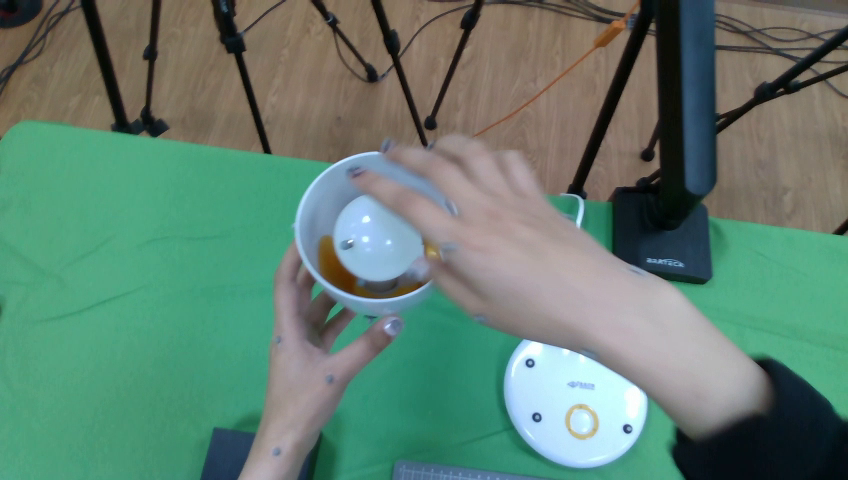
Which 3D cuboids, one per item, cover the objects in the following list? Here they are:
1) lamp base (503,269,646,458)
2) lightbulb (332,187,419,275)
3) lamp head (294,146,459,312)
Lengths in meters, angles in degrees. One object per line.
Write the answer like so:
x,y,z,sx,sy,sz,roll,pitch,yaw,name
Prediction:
0.170,0.117,0.617,0.161,0.181,0.177,-4,62,-5,lamp base
-0.034,0.001,0.433,0.059,0.108,0.059,1,74,-4,lightbulb
-0.029,0.005,0.458,0.112,0.124,0.111,-1,69,3,lamp head
